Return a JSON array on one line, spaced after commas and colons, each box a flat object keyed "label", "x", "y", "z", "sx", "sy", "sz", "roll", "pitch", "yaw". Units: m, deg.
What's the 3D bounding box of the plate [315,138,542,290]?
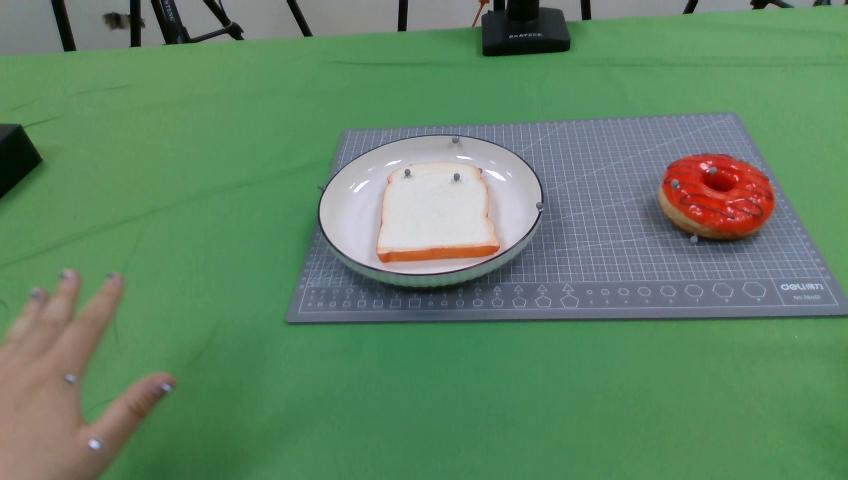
[{"label": "plate", "x": 0.005, "y": -0.024, "z": 0.567, "sx": 0.209, "sy": 0.038, "sz": 0.207, "roll": -3, "pitch": 42, "yaw": 3}]

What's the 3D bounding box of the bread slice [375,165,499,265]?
[{"label": "bread slice", "x": 0.007, "y": -0.027, "z": 0.572, "sx": 0.107, "sy": 0.018, "sz": 0.133, "roll": -5, "pitch": 42, "yaw": -1}]

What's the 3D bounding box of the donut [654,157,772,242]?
[{"label": "donut", "x": 0.259, "y": -0.036, "z": 0.546, "sx": 0.099, "sy": 0.049, "sz": 0.098, "roll": -2, "pitch": 43, "yaw": 2}]
